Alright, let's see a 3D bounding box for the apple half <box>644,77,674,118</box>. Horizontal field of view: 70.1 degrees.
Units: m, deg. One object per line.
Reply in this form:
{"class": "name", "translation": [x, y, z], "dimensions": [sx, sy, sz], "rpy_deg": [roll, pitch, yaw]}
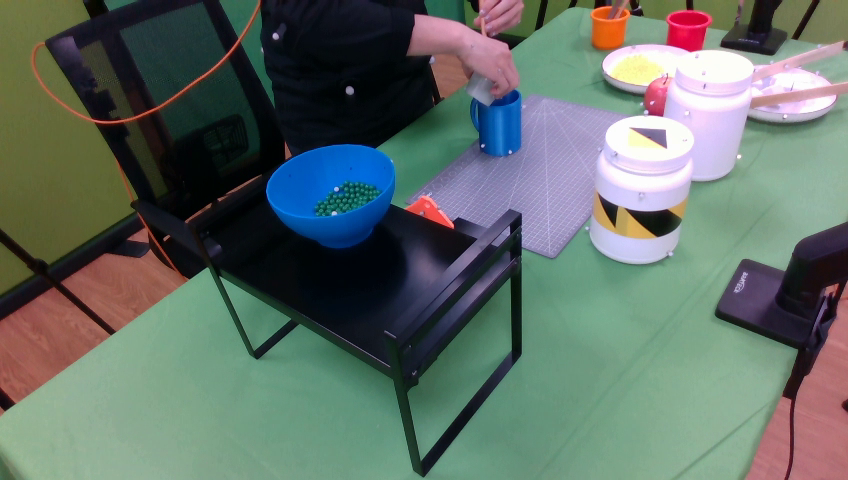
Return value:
{"class": "apple half", "translation": [0.463, -0.279, 1.194], "dimensions": [0.053, 0.075, 0.081], "rpy_deg": [8, 46, 24]}

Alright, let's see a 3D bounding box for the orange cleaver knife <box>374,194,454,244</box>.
{"class": "orange cleaver knife", "translation": [-0.032, -0.026, 0.964], "dimensions": [0.210, 0.077, 0.012], "rpy_deg": [-9, 29, 51]}

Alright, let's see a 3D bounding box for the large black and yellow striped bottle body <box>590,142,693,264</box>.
{"class": "large black and yellow striped bottle body", "translation": [0.317, -0.071, 0.889], "dimensions": [0.131, 0.185, 0.130], "rpy_deg": [-4, 41, 4]}

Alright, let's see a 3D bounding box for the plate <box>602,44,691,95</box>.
{"class": "plate", "translation": [0.495, -0.367, 1.317], "dimensions": [0.209, 0.038, 0.208], "rpy_deg": [-4, 40, 4]}

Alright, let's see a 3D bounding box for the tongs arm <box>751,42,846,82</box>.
{"class": "tongs arm", "translation": [0.708, -0.331, 1.193], "dimensions": [0.386, 0.026, 0.050], "rpy_deg": [-18, 45, -16]}

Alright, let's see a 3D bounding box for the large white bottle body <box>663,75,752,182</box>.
{"class": "large white bottle body", "translation": [0.472, -0.207, 1.022], "dimensions": [0.130, 0.185, 0.130], "rpy_deg": [-4, 41, 4]}

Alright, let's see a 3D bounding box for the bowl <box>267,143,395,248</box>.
{"class": "bowl", "translation": [-0.104, -0.043, 0.726], "dimensions": [0.151, 0.077, 0.150], "rpy_deg": [-4, 40, 4]}

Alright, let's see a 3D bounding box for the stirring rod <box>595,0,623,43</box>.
{"class": "stirring rod", "translation": [0.460, -0.556, 1.460], "dimensions": [0.014, 0.006, 0.176], "rpy_deg": [30, 93, 23]}

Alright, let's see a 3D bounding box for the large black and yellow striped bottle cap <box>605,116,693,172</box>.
{"class": "large black and yellow striped bottle cap", "translation": [0.309, -0.134, 0.833], "dimensions": [0.115, 0.019, 0.114], "rpy_deg": [-5, 40, 5]}

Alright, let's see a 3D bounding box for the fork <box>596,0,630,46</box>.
{"class": "fork", "translation": [0.481, -0.556, 1.452], "dimensions": [0.028, 0.019, 0.207], "rpy_deg": [40, 103, 40]}

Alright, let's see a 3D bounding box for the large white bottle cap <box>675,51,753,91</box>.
{"class": "large white bottle cap", "translation": [0.463, -0.271, 0.967], "dimensions": [0.115, 0.018, 0.114], "rpy_deg": [-4, 40, 3]}

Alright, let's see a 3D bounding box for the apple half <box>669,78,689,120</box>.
{"class": "apple half", "translation": [0.498, -0.273, 1.180], "dimensions": [0.032, 0.082, 0.081], "rpy_deg": [7, 42, 25]}

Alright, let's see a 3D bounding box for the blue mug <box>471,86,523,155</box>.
{"class": "blue mug", "translation": [0.135, -0.235, 1.163], "dimensions": [0.082, 0.106, 0.115], "rpy_deg": [-36, 48, -28]}

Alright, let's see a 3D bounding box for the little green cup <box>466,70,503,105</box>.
{"class": "little green cup", "translation": [0.106, -0.271, 1.079], "dimensions": [0.038, 0.062, 0.061], "rpy_deg": [-55, 46, 11]}

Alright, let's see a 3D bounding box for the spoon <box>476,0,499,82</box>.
{"class": "spoon", "translation": [0.107, -0.369, 1.073], "dimensions": [0.042, 0.193, 0.021], "rpy_deg": [-5, -2, -4]}

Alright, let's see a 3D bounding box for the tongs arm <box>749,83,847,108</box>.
{"class": "tongs arm", "translation": [0.734, -0.280, 1.133], "dimensions": [0.388, 0.028, 0.028], "rpy_deg": [-9, 47, -5]}

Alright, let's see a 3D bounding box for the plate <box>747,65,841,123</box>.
{"class": "plate", "translation": [0.695, -0.282, 1.189], "dimensions": [0.207, 0.039, 0.206], "rpy_deg": [-4, 40, 4]}
